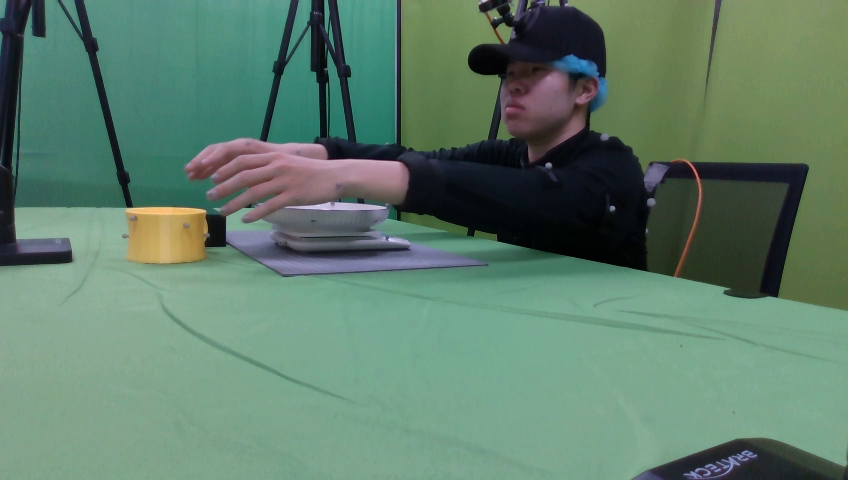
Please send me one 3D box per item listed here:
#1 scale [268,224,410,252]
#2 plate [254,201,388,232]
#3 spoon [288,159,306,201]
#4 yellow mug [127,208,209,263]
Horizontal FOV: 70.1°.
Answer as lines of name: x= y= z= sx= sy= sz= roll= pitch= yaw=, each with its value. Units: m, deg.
scale: x=-0.138 y=-0.006 z=0.980 sx=0.202 sy=0.031 sz=0.148 roll=-1 pitch=8 yaw=-30
plate: x=-0.161 y=-0.037 z=0.961 sx=0.209 sy=0.038 sz=0.209 roll=2 pitch=6 yaw=0
spoon: x=-0.259 y=-0.103 z=1.268 sx=0.042 sy=0.193 sz=0.021 roll=3 pitch=-39 yaw=-33
yellow mug: x=-0.339 y=-0.009 z=0.827 sx=0.100 sy=0.064 sz=0.131 roll=5 pitch=7 yaw=17
